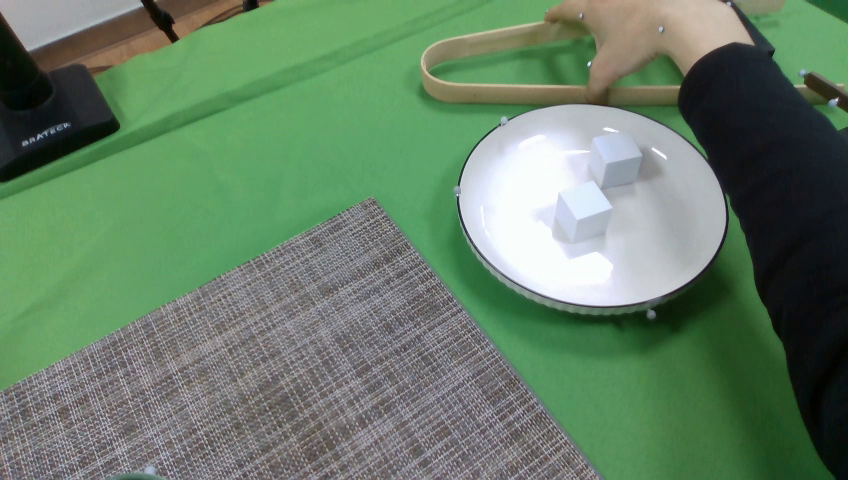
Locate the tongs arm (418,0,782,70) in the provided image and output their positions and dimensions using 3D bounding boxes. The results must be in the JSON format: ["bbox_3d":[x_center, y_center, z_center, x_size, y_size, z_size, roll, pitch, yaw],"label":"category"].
[{"bbox_3d":[0.183,-0.213,0.607,0.385,0.027,0.050,-7,61,-2],"label":"tongs arm"}]

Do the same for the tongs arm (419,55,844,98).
[{"bbox_3d":[0.187,-0.150,0.569,0.387,0.028,0.028,3,64,4],"label":"tongs arm"}]

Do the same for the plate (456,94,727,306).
[{"bbox_3d":[0.130,-0.034,0.490,0.207,0.039,0.205,-1,56,2],"label":"plate"}]

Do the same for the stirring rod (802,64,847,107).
[{"bbox_3d":[0.363,-0.084,0.461,0.006,0.014,0.174,-26,57,-18],"label":"stirring rod"}]

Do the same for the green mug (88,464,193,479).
[{"bbox_3d":[-0.122,0.169,0.320,0.125,0.106,0.091,-10,55,-4],"label":"green mug"}]
